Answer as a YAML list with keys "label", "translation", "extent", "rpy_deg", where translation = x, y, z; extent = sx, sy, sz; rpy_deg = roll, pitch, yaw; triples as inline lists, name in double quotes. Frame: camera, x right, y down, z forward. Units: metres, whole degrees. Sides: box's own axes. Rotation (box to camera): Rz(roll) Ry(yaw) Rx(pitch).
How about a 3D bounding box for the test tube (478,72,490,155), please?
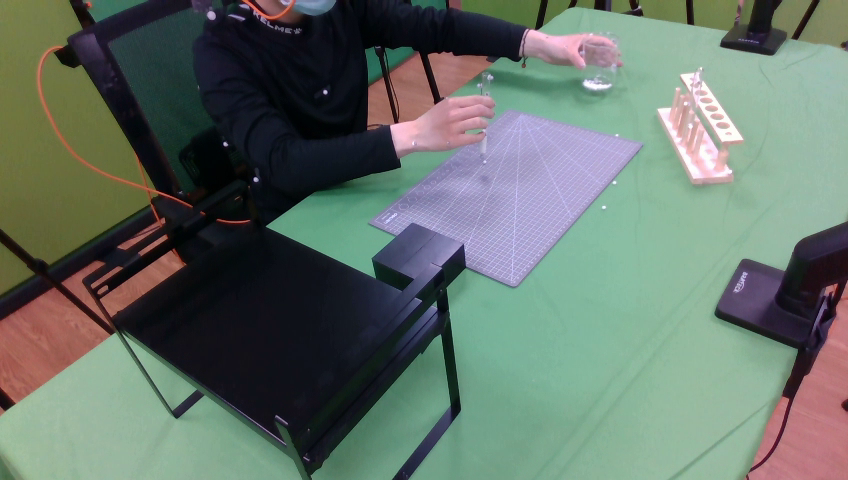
- label: "test tube"
  translation: [0.105, -0.219, 1.061]
  extent: [0.017, 0.150, 0.017]
  rpy_deg: [0, 34, 1]

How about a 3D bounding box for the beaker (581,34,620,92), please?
- label: "beaker"
  translation: [0.366, -0.365, 1.257]
  extent: [0.074, 0.101, 0.083]
  rpy_deg: [-22, 43, -14]

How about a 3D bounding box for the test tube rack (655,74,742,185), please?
- label: "test tube rack"
  translation: [0.488, -0.205, 1.093]
  extent: [0.067, 0.085, 0.241]
  rpy_deg: [-3, 41, 5]

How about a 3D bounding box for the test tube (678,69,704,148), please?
- label: "test tube"
  translation: [0.465, -0.228, 1.054]
  extent: [0.017, 0.151, 0.017]
  rpy_deg: [-4, 41, 4]
